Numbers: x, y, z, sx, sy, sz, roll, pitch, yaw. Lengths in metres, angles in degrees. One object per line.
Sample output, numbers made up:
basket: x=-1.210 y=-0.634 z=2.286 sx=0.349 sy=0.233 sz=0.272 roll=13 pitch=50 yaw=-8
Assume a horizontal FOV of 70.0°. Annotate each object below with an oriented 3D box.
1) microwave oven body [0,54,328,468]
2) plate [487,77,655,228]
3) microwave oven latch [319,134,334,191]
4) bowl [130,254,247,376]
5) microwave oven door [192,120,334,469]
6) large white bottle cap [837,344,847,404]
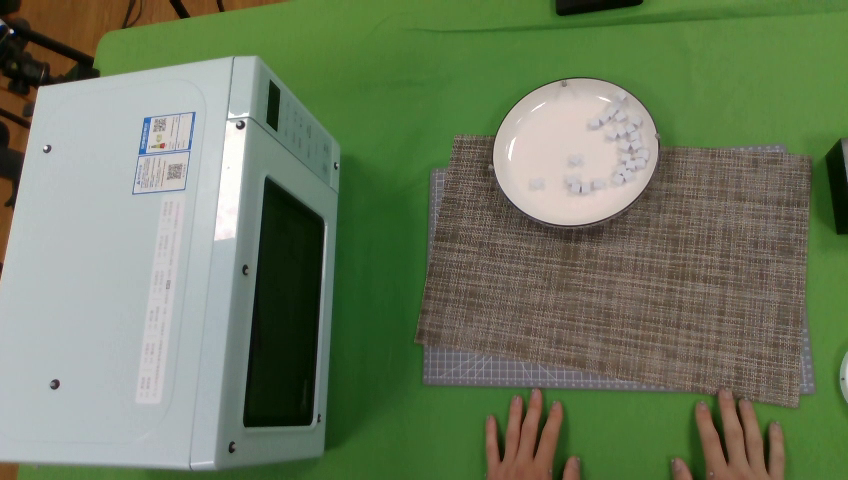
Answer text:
microwave oven body: x=-0.314 y=0.043 z=0.761 sx=0.325 sy=0.262 sz=0.439 roll=-4 pitch=75 yaw=14
plate: x=0.188 y=-0.111 z=0.787 sx=0.208 sy=0.038 sz=0.208 roll=-4 pitch=72 yaw=14
microwave oven latch: x=-0.144 y=-0.110 z=0.862 sx=0.030 sy=0.030 sz=0.078 roll=-4 pitch=75 yaw=14
bowl: x=-0.283 y=0.100 z=0.770 sx=0.151 sy=0.077 sz=0.150 roll=-4 pitch=73 yaw=14
microwave oven door: x=-0.174 y=0.073 z=0.710 sx=0.039 sy=0.245 sz=0.353 roll=-4 pitch=74 yaw=14
large white bottle cap: x=0.507 y=0.148 z=0.644 sx=0.114 sy=0.018 sz=0.114 roll=-4 pitch=74 yaw=13
